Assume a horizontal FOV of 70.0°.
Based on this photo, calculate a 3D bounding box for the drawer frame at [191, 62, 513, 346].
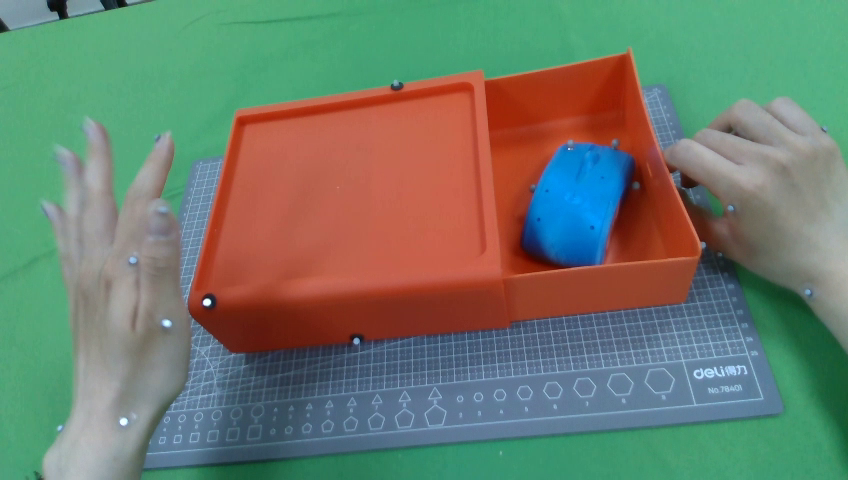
[{"bbox_3d":[-0.045,-0.028,0.467,0.213,0.083,0.199,-7,55,9],"label":"drawer frame"}]

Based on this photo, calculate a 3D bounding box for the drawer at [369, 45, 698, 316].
[{"bbox_3d":[0.068,-0.042,0.452,0.211,0.074,0.192,-7,56,8],"label":"drawer"}]

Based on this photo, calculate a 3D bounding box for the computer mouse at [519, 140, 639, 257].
[{"bbox_3d":[0.116,-0.038,0.449,0.062,0.041,0.116,10,49,29],"label":"computer mouse"}]
